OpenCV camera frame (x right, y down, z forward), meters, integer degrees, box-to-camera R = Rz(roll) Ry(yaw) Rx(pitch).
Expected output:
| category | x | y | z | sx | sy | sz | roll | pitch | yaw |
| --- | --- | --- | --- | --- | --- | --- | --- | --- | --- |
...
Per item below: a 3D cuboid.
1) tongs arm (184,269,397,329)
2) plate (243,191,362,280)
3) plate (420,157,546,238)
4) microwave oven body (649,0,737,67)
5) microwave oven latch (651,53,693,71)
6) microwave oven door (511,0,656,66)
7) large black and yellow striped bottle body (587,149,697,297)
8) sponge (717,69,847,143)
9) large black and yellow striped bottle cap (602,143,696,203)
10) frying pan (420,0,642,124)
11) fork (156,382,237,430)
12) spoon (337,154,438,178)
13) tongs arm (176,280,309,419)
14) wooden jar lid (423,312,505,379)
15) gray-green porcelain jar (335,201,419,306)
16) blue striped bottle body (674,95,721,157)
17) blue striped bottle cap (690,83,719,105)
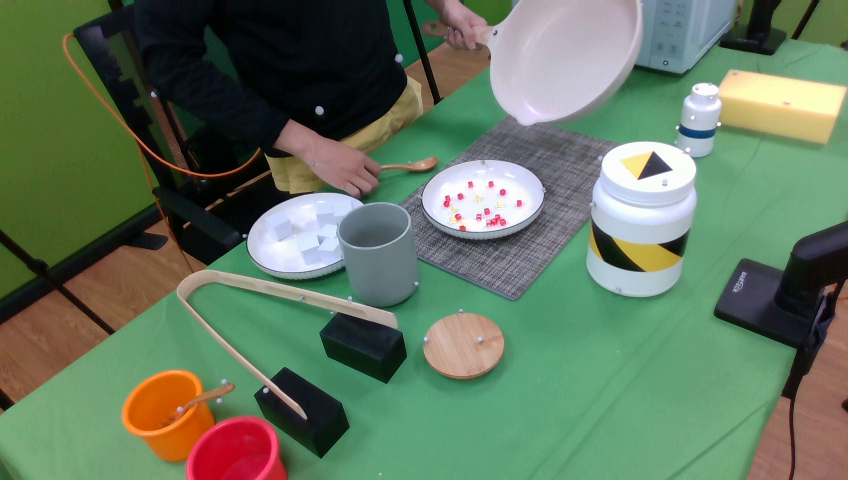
| category | x | y | z | sx | sy | sz | roll | pitch | yaw |
| --- | --- | --- | --- | --- | --- | --- | --- | --- | --- |
| tongs arm | -0.202 | 0.085 | 0.847 | 0.382 | 0.027 | 0.051 | 11 | 45 | 35 |
| plate | -0.187 | -0.005 | 0.992 | 0.207 | 0.039 | 0.206 | -4 | 41 | 4 |
| plate | 0.099 | -0.067 | 1.017 | 0.209 | 0.038 | 0.208 | -4 | 40 | 4 |
| microwave oven body | 0.475 | -0.602 | 1.411 | 0.438 | 0.261 | 0.327 | 23 | 50 | 32 |
| microwave oven latch | 0.533 | -0.387 | 1.302 | 0.078 | 0.029 | 0.030 | 29 | 53 | 35 |
| microwave oven door | 0.351 | -0.540 | 1.349 | 0.353 | 0.245 | 0.039 | 24 | 50 | 31 |
| large black and yellow striped bottle body | 0.298 | -0.026 | 0.835 | 0.131 | 0.185 | 0.130 | -4 | 41 | 4 |
| sponge | 0.663 | -0.256 | 1.142 | 0.205 | 0.061 | 0.118 | 19 | 47 | 28 |
| large black and yellow striped bottle cap | 0.289 | -0.088 | 0.779 | 0.115 | 0.019 | 0.114 | -5 | 39 | 4 |
| frying pan | 0.175 | -0.374 | 1.128 | 0.483 | 0.103 | 0.306 | 26 | 94 | 35 |
| fork | -0.262 | 0.189 | 0.690 | 0.018 | 0.206 | 0.028 | 49 | 43 | -7 |
| spoon | -0.067 | -0.137 | 1.125 | 0.195 | 0.022 | 0.041 | -8 | 40 | -17 |
| tongs arm | -0.254 | 0.133 | 0.801 | 0.028 | 0.028 | 0.384 | -41 | 40 | -23 |
| wooden jar lid | 0.053 | 0.142 | 0.800 | 0.108 | 0.021 | 0.108 | -4 | 39 | 4 |
| gray-green porcelain jar | -0.064 | 0.024 | 0.872 | 0.106 | 0.127 | 0.105 | -4 | 41 | 4 |
| blue striped bottle body | 0.486 | -0.213 | 1.072 | 0.063 | 0.121 | 0.063 | -4 | 41 | 4 |
| blue striped bottle cap | 0.482 | -0.251 | 1.038 | 0.044 | 0.021 | 0.044 | -5 | 39 | 5 |
